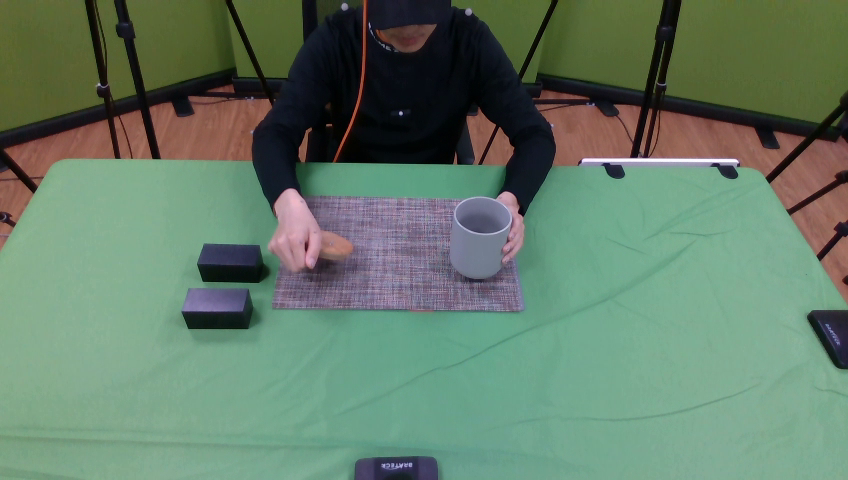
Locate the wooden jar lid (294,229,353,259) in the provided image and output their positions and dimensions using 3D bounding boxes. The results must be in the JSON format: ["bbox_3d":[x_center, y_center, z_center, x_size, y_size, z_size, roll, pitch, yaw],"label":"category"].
[{"bbox_3d":[-0.185,0.008,1.107,0.108,0.021,0.108,17,15,-4],"label":"wooden jar lid"}]

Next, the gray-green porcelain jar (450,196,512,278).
[{"bbox_3d":[0.102,-0.001,1.111,0.106,0.127,0.105,2,45,-1],"label":"gray-green porcelain jar"}]
